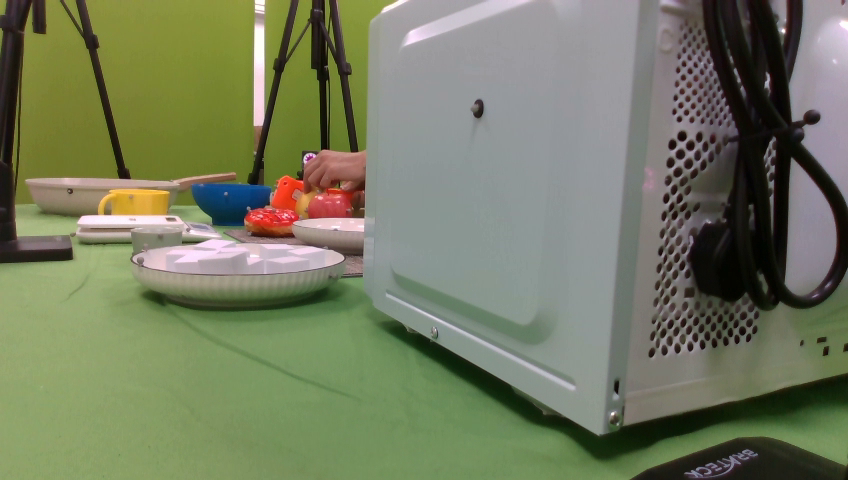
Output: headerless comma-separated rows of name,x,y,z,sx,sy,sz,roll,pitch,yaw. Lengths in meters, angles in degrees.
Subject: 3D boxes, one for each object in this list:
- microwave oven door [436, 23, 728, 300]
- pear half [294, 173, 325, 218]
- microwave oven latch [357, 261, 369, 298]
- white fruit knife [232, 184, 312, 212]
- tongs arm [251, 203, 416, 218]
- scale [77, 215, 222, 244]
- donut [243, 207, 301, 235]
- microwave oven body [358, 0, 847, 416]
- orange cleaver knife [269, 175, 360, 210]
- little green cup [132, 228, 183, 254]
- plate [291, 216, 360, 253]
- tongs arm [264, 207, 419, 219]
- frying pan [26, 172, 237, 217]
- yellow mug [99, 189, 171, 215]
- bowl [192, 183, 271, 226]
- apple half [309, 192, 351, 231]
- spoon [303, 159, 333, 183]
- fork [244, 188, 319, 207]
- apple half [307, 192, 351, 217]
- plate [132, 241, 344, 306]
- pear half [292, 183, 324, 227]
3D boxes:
microwave oven door,0.180,-0.073,0.621,0.358,0.243,0.039,-2,9,-29
pear half,-0.212,-0.077,1.192,0.077,0.110,0.055,-7,11,-44
microwave oven latch,-0.019,0.033,0.530,0.079,0.029,0.030,-1,7,-26
white fruit knife,-0.364,-0.105,1.464,0.208,0.027,0.016,15,-1,-34
tongs arm,-0.209,-0.070,1.439,0.389,0.027,0.028,1,1,-16
scale,-0.434,-0.019,0.963,0.202,0.031,0.148,-1,9,-27
donut,-0.262,-0.032,1.043,0.099,0.048,0.099,4,9,0
microwave oven body,0.211,-0.047,0.474,0.444,0.260,0.324,-1,7,-28
orange cleaver knife,-0.210,-0.082,1.226,0.212,0.077,0.012,6,9,-38
little green cup,-0.342,0.006,0.779,0.061,0.038,0.061,2,8,0
plate,-0.103,-0.009,0.945,0.209,0.038,0.209,2,8,0
tongs arm,-0.173,-0.062,1.362,0.387,0.026,0.050,-1,5,-31
frying pan,-0.624,-0.118,1.387,0.305,0.102,0.490,8,17,32
yellow mug,-0.519,-0.055,1.080,0.099,0.064,0.131,7,9,26
bowl,-0.382,-0.070,1.202,0.151,0.077,0.151,3,7,0
apple half,-0.173,-0.055,1.126,0.081,0.081,0.033,2,11,2
spoon,-0.316,-0.159,1.640,0.194,0.022,0.041,-50,32,-20
fork,-0.356,-0.105,1.526,0.208,0.018,0.028,16,-6,-41
apple half,-0.174,-0.049,1.087,0.081,0.074,0.053,6,11,2
plate,-0.187,0.033,0.625,0.208,0.039,0.207,2,7,0
pear half,-0.240,-0.071,1.225,0.031,0.088,0.071,-2,5,44
